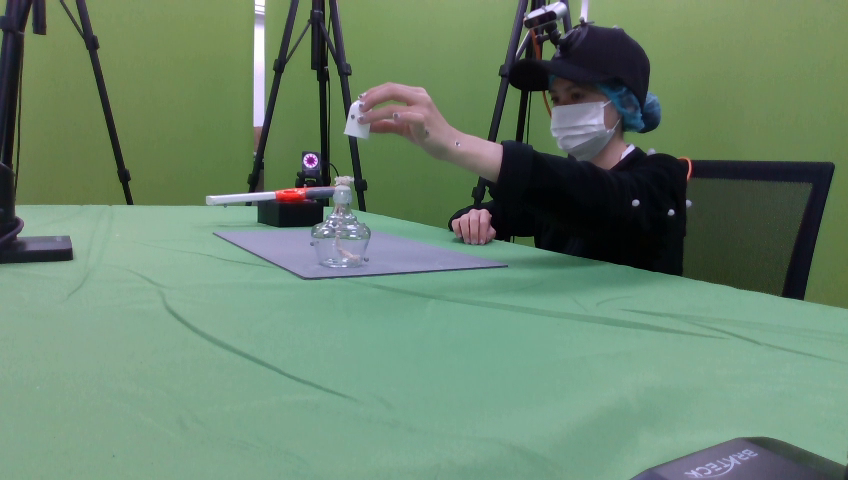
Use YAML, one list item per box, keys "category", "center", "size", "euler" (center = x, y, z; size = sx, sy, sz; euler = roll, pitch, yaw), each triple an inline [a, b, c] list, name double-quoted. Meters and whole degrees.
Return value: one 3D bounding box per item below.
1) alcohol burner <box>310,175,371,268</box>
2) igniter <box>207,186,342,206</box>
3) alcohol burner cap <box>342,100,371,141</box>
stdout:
- category: "alcohol burner"
  center: [-0.107, -0.024, 0.778]
  size: [0.078, 0.119, 0.078]
  euler: [3, 5, 0]
- category: "igniter"
  center: [-0.300, -0.091, 1.241]
  size: [0.278, 0.025, 0.057]
  euler: [-8, 11, -34]
- category: "alcohol burner cap"
  center: [-0.082, -0.149, 0.750]
  size: [0.034, 0.048, 0.034]
  euler: [12, 6, -1]
